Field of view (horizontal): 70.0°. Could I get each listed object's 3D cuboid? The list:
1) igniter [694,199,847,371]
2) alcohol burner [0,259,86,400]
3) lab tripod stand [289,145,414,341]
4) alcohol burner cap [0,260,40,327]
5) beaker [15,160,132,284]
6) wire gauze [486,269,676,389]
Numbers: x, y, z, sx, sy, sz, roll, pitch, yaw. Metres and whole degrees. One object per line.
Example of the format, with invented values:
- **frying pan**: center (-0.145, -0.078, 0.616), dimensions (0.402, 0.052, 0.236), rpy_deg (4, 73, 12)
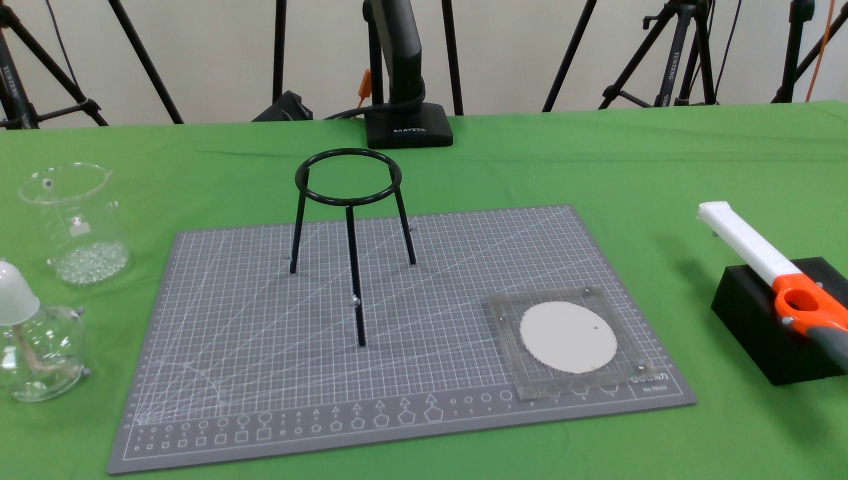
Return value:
- **igniter**: center (0.313, 0.040, 0.515), dimensions (0.057, 0.025, 0.273), rpy_deg (-5, 34, -7)
- **alcohol burner**: center (-0.306, 0.064, 0.462), dimensions (0.078, 0.120, 0.077), rpy_deg (2, 35, -1)
- **lab tripod stand**: center (-0.064, -0.005, 0.545), dimensions (0.148, 0.132, 0.147), rpy_deg (3, 37, -2)
- **alcohol burner cap**: center (-0.307, 0.036, 0.441), dimensions (0.034, 0.048, 0.033), rpy_deg (2, 41, -2)
- **beaker**: center (-0.328, -0.016, 0.583), dimensions (0.073, 0.101, 0.084), rpy_deg (28, 44, 30)
- **wire gauze**: center (0.136, 0.073, 0.528), dimensions (0.125, 0.011, 0.120), rpy_deg (-13, 36, -28)
